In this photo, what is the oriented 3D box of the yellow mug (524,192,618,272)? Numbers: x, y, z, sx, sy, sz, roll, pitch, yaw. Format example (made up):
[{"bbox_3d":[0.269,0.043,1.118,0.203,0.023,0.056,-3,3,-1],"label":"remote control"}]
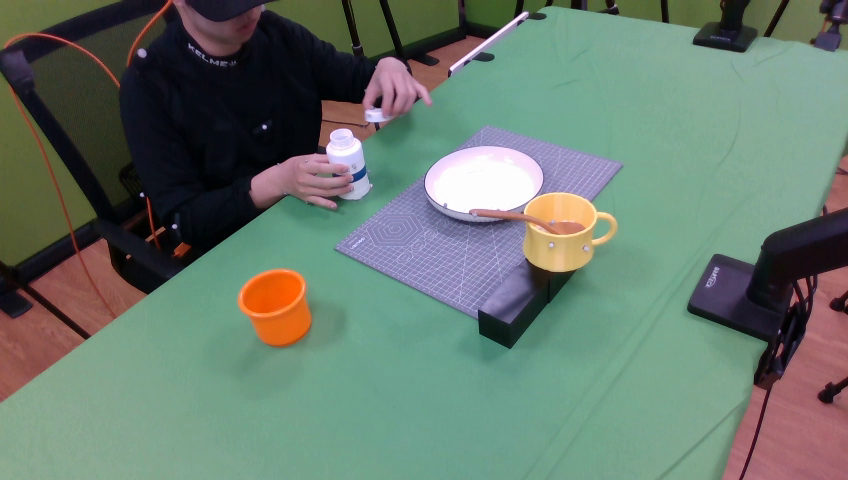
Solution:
[{"bbox_3d":[0.206,-0.013,0.845,0.131,0.064,0.099,-3,40,2],"label":"yellow mug"}]

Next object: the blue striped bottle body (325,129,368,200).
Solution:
[{"bbox_3d":[-0.138,-0.135,1.070,0.063,0.121,0.063,-3,41,3],"label":"blue striped bottle body"}]

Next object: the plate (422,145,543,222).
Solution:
[{"bbox_3d":[0.101,-0.094,1.048,0.207,0.039,0.206,-4,41,4],"label":"plate"}]

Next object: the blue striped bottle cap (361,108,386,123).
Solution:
[{"bbox_3d":[-0.091,-0.223,1.084,0.044,0.020,0.044,-1,21,1],"label":"blue striped bottle cap"}]

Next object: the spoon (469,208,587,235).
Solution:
[{"bbox_3d":[0.143,-0.026,0.817,0.195,0.021,0.041,12,34,-29],"label":"spoon"}]
